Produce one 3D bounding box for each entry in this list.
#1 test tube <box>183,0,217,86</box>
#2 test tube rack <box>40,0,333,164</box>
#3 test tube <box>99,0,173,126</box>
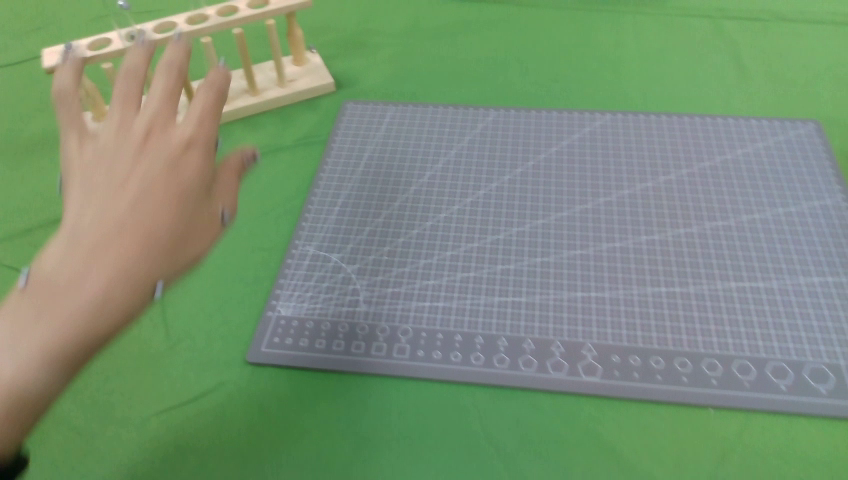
[{"bbox_3d":[-0.212,-0.213,0.560,0.017,0.151,0.017,1,42,0],"label":"test tube"},{"bbox_3d":[-0.219,-0.161,0.583,0.243,0.086,0.066,-20,51,-13],"label":"test tube rack"},{"bbox_3d":[-0.253,-0.163,0.529,0.017,0.152,0.017,-1,49,2],"label":"test tube"}]
